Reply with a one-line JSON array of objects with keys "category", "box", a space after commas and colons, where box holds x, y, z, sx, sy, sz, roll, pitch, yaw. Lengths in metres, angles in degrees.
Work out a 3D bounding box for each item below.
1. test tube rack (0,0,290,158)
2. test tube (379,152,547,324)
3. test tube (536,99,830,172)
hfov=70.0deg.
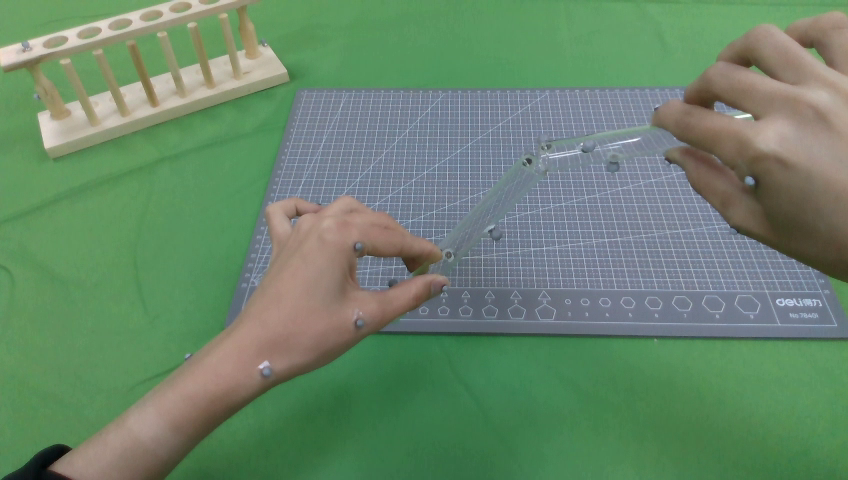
[{"category": "test tube rack", "box": [-0.266, -0.172, 0.602, 0.242, 0.086, 0.066, -24, 52, -17]}, {"category": "test tube", "box": [0.016, 0.005, 0.346, 0.017, 0.151, 0.017, 25, 39, -22]}, {"category": "test tube", "box": [0.131, -0.053, 0.304, 0.150, 0.017, 0.017, -9, 49, -3]}]
